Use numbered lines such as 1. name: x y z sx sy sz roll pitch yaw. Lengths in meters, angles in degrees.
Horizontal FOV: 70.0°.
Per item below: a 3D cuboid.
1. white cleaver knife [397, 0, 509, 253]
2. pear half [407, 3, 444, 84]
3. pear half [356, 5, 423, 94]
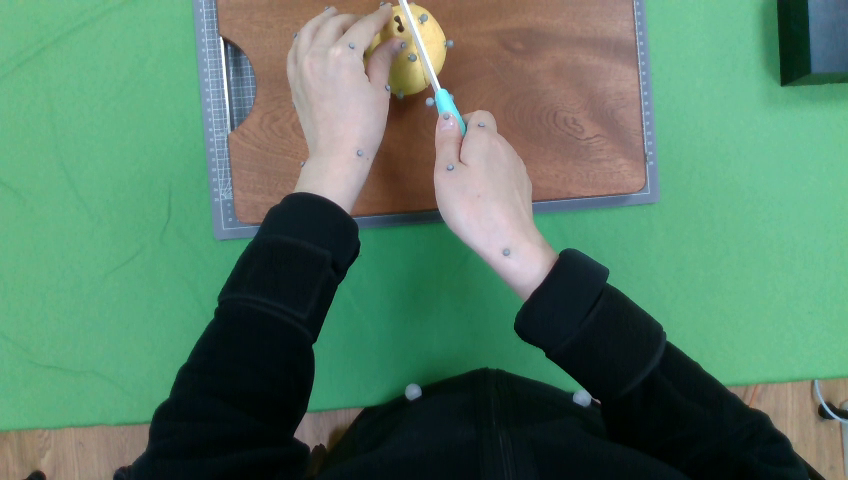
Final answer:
1. white cleaver knife: 0.009 -0.125 0.473 0.021 0.066 0.286 -20 93 5
2. pear half: 0.001 -0.180 0.540 0.031 0.088 0.070 -23 84 0
3. pear half: -0.032 -0.169 0.531 0.056 0.110 0.076 -21 84 -3
